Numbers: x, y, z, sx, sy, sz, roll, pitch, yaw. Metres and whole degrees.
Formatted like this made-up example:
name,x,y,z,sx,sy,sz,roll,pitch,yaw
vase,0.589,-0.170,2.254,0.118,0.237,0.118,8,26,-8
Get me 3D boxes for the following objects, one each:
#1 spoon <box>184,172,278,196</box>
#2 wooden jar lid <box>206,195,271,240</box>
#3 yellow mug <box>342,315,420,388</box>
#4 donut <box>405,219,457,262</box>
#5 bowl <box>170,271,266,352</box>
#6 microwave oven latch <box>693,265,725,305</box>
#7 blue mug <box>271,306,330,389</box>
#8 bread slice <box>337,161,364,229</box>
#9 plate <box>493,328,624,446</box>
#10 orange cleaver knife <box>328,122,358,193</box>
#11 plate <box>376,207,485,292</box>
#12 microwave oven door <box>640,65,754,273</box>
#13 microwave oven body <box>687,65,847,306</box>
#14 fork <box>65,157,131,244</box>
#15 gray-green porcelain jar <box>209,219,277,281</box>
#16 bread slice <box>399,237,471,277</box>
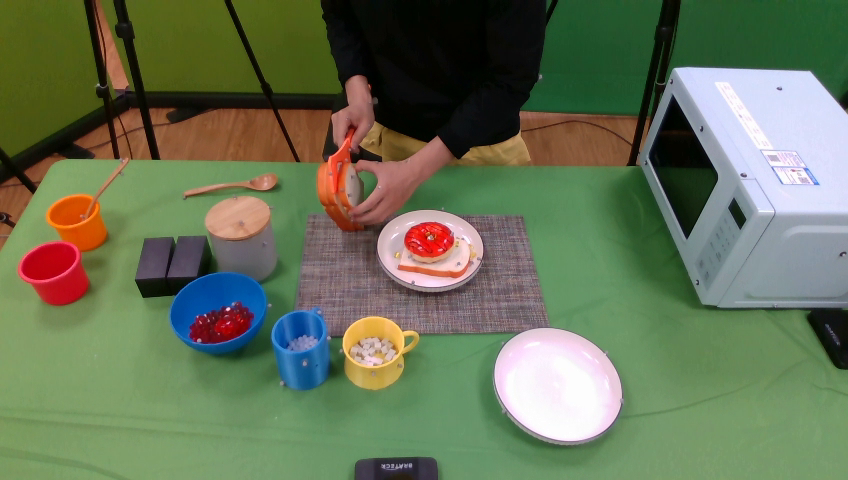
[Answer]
name,x,y,z,sx,sy,sz,roll,pitch,yaw
spoon,-0.405,-0.116,1.275,0.194,0.022,0.041,-8,66,-12
wooden jar lid,-0.319,-0.036,1.046,0.108,0.021,0.107,1,44,0
yellow mug,-0.068,0.177,0.990,0.131,0.064,0.099,-15,50,-19
donut,0.012,-0.001,1.140,0.099,0.048,0.098,0,44,0
bowl,-0.334,0.132,1.006,0.151,0.077,0.150,2,46,-2
microwave oven latch,0.522,0.081,1.115,0.030,0.029,0.078,2,46,-1
blue mug,-0.188,0.163,0.969,0.082,0.106,0.116,15,47,10
bread slice,-0.141,-0.090,1.175,0.018,0.135,0.106,-1,73,8
plate,0.213,0.236,0.974,0.208,0.039,0.206,2,46,-2
orange cleaver knife,-0.154,-0.163,1.175,0.012,0.077,0.210,-1,33,10
plate,0.012,0.021,1.158,0.209,0.038,0.208,2,47,-2
microwave oven door,0.523,-0.147,1.193,0.039,0.245,0.353,0,47,-3
microwave oven body,0.669,-0.111,1.176,0.326,0.261,0.439,0,46,-3
fork,-0.608,-0.074,1.132,0.207,0.019,0.028,-52,48,10
gray-green porcelain jar,-0.323,0.007,1.092,0.106,0.127,0.105,2,46,-2
bread slice,0.025,0.025,1.161,0.131,0.019,0.104,6,47,8
